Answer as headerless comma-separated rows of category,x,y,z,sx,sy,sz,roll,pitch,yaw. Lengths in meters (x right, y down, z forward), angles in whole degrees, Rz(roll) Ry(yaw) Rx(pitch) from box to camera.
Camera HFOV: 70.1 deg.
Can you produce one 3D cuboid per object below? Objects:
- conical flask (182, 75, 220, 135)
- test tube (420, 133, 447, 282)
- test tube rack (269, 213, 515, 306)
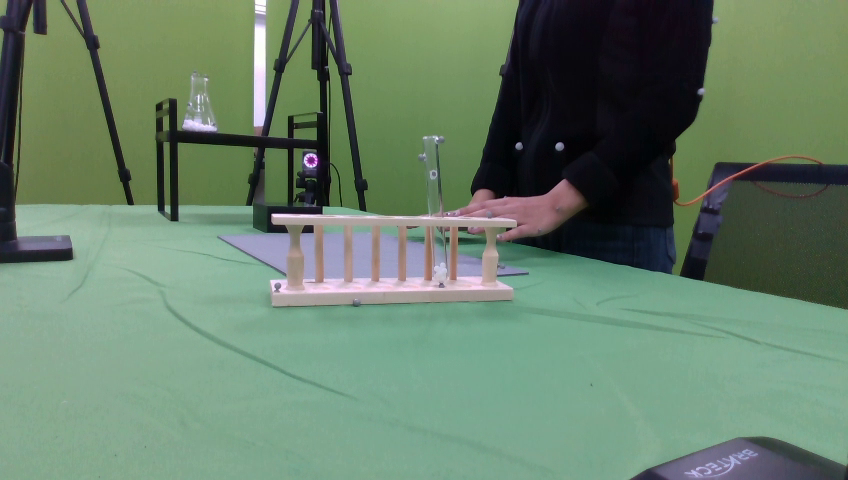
conical flask,-0.475,-0.287,1.288,0.075,0.122,0.075,2,7,0
test tube,0.010,-0.031,0.606,0.017,0.150,0.017,-5,10,1
test tube rack,-0.032,0.015,0.617,0.243,0.085,0.066,0,7,-17
